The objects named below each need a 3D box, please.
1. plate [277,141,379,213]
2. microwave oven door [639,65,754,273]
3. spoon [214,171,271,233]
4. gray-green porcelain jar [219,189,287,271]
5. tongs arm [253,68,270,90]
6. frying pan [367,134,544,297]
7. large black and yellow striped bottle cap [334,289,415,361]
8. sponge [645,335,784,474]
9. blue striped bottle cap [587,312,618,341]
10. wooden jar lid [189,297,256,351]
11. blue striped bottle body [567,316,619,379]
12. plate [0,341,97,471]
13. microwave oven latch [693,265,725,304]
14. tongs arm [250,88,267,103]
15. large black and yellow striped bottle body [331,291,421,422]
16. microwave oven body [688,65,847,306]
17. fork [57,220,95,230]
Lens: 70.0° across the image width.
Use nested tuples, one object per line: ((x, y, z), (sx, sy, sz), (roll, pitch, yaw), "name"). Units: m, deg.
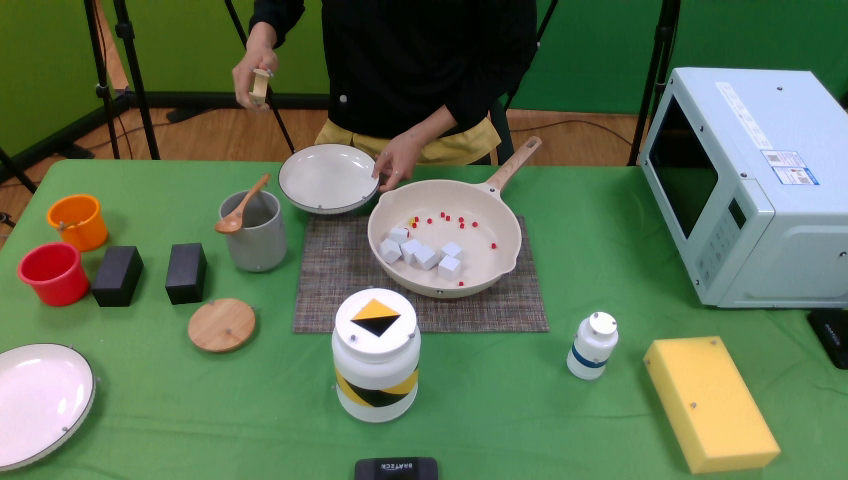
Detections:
((-0.197, -0.126, 1.256), (0.208, 0.039, 0.206), (2, 48, -2), "plate")
((0.522, -0.147, 1.193), (0.039, 0.245, 0.353), (0, 47, -3), "microwave oven door")
((-0.312, -0.070, 1.070), (0.041, 0.022, 0.193), (9, 43, 10), "spoon")
((-0.309, -0.014, 1.113), (0.106, 0.127, 0.105), (2, 46, -2), "gray-green porcelain jar")
((-0.294, -0.286, 1.095), (0.026, 0.051, 0.383), (7, 15, -16), "tongs arm")
((0.104, -0.069, 1.205), (0.305, 0.103, 0.487), (32, 61, 23), "frying pan")
((-0.069, 0.117, 0.850), (0.115, 0.019, 0.114), (2, 45, -2), "large black and yellow striped bottle cap")
((0.449, 0.253, 0.957), (0.118, 0.061, 0.205), (-4, 46, -7), "sponge")
((0.279, 0.134, 0.947), (0.044, 0.021, 0.044), (2, 45, -2), "blue striped bottle cap")
((-0.342, 0.145, 1.033), (0.108, 0.021, 0.107), (2, 45, -2), "wooden jar lid")
((0.276, 0.168, 0.984), (0.063, 0.121, 0.062), (2, 46, -2), "blue striped bottle body")
((-0.599, 0.247, 0.904), (0.209, 0.038, 0.208), (2, 47, -2), "plate")
((0.523, 0.081, 1.116), (0.030, 0.029, 0.078), (2, 46, -1), "microwave oven latch")
((-0.298, -0.263, 1.099), (0.028, 0.028, 0.386), (3, 12, -16), "tongs arm")
((-0.071, 0.175, 0.911), (0.131, 0.185, 0.130), (2, 47, -2), "large black and yellow striped bottle body")
((0.669, -0.111, 1.176), (0.326, 0.261, 0.439), (0, 46, -3), "microwave oven body")
((-0.624, -0.027, 1.087), (0.028, 0.207, 0.018), (-3, 91, -17), "fork")
